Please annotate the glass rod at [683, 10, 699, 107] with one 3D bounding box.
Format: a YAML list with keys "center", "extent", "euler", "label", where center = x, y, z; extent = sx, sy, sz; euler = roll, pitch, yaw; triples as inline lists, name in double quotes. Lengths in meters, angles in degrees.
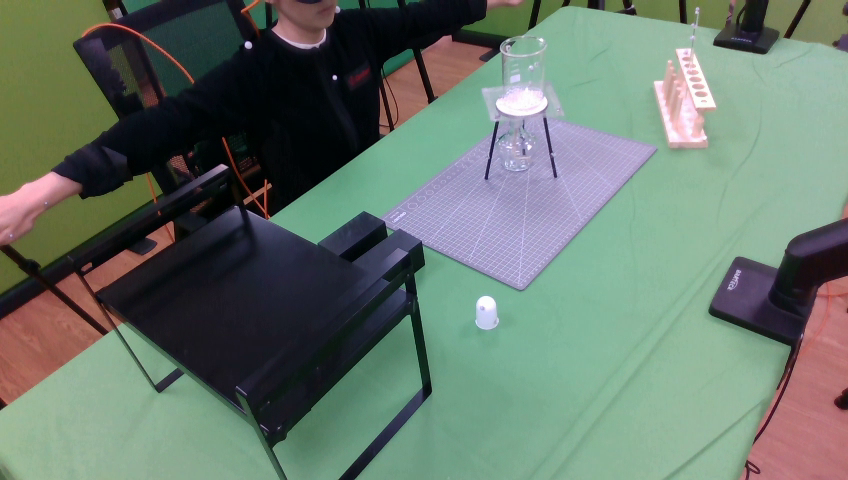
- center: [0.501, -0.335, 1.138]
  extent: [0.008, 0.201, 0.008]
  euler: [-7, 45, 7]
  label: "glass rod"

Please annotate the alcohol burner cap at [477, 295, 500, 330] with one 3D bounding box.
- center: [0.089, 0.097, 0.833]
  extent: [0.034, 0.048, 0.033]
  euler: [-4, 42, 4]
  label: "alcohol burner cap"

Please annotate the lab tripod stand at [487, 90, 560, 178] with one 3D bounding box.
- center: [0.175, -0.185, 1.074]
  extent: [0.148, 0.132, 0.147]
  euler: [-5, 42, 5]
  label: "lab tripod stand"

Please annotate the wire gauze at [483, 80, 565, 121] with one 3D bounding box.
- center: [0.168, -0.237, 1.035]
  extent: [0.125, 0.011, 0.121]
  euler: [-7, 39, 4]
  label: "wire gauze"

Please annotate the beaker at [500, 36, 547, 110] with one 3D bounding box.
- center: [0.169, -0.276, 1.004]
  extent: [0.084, 0.101, 0.073]
  euler: [-26, 45, -18]
  label: "beaker"

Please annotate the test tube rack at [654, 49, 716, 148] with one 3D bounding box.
- center: [0.502, -0.281, 1.176]
  extent: [0.066, 0.085, 0.241]
  euler: [2, 41, 11]
  label: "test tube rack"

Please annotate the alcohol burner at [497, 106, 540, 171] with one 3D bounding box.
- center: [0.170, -0.187, 1.092]
  extent: [0.078, 0.119, 0.077]
  euler: [-6, 41, 6]
  label: "alcohol burner"
